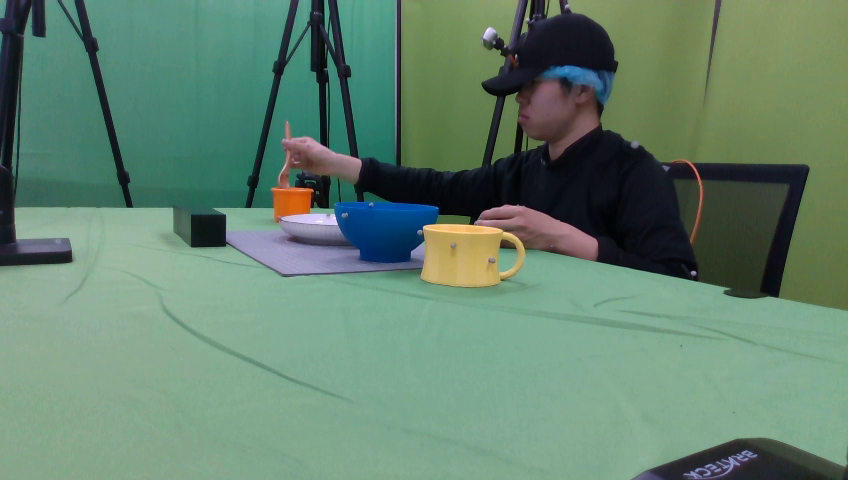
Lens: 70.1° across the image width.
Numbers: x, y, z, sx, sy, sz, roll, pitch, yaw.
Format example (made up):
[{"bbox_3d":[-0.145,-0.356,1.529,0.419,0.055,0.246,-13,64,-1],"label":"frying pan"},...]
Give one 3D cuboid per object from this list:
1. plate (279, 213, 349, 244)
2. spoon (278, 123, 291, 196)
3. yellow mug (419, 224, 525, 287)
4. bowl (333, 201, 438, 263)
[{"bbox_3d":[-0.147,-0.020,1.060,0.209,0.038,0.209,3,7,0],"label":"plate"},{"bbox_3d":[-0.311,-0.184,1.368,0.021,0.193,0.042,-12,-27,22],"label":"spoon"},{"bbox_3d":[0.060,0.018,0.746,0.131,0.064,0.100,3,7,-7],"label":"yellow mug"},{"bbox_3d":[-0.057,-0.011,0.866,0.151,0.077,0.151,3,8,0],"label":"bowl"}]
